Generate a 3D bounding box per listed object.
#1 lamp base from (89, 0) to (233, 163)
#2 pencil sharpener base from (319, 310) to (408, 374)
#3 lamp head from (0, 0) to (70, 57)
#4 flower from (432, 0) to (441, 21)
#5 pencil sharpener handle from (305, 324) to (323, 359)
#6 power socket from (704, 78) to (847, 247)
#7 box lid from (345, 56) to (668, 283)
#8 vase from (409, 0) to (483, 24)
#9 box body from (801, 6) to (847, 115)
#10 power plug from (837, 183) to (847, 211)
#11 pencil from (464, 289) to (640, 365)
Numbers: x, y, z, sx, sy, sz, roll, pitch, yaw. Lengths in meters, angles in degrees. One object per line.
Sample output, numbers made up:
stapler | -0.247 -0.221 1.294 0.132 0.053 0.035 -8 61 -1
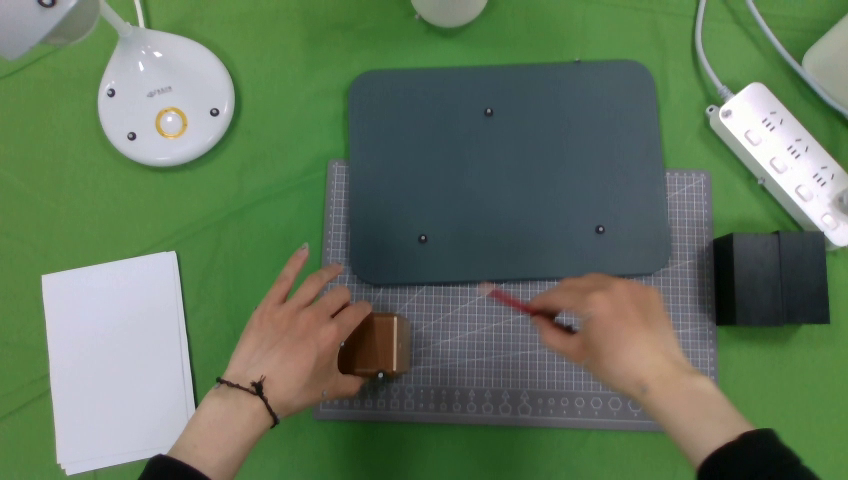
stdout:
lamp base | -0.315 -0.192 0.642 0.160 0.181 0.178 -29 79 -4
pencil sharpener base | -0.061 0.106 0.629 0.076 0.107 0.061 -1 80 6
lamp head | -0.278 -0.193 0.364 0.112 0.124 0.111 -23 46 27
flower | 0.036 -0.347 0.572 0.044 0.364 0.038 -25 70 -19
pencil sharpener handle | -0.113 0.102 0.622 0.030 0.068 0.036 -1 91 6
power socket | 0.422 -0.090 0.698 0.072 0.033 0.226 -38 83 -5
box lid | 0.094 -0.086 0.709 0.371 0.015 0.262 -2 81 0
vase | 0.027 -0.319 0.651 0.098 0.200 0.098 0 80 0
box body | 0.638 -0.177 0.644 0.254 0.161 0.363 -42 83 -6
power plug | 0.492 -0.056 0.670 0.072 0.053 0.035 -28 79 -8
pencil | 0.125 0.083 0.579 0.195 0.012 0.012 23 82 -12
